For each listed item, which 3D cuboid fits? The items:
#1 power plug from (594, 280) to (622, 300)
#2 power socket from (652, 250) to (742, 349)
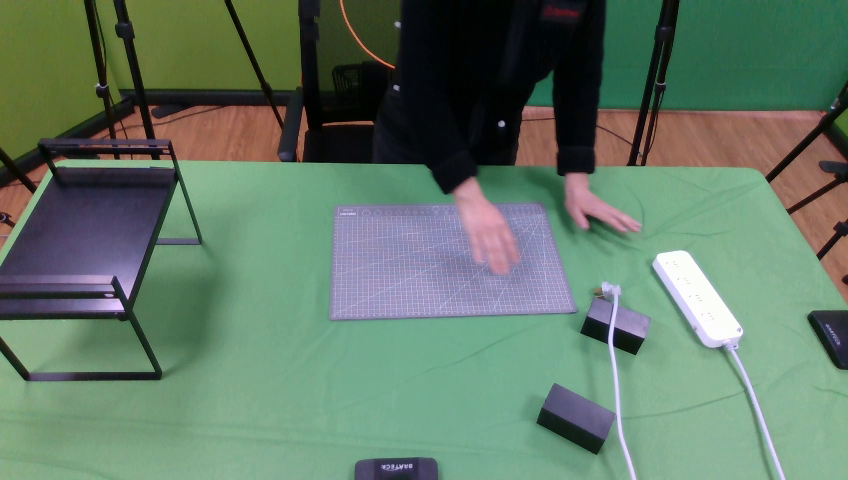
[{"bbox_3d":[0.331,0.092,1.106,0.052,0.073,0.035,-16,82,28],"label":"power plug"},{"bbox_3d":[0.502,0.104,1.126,0.072,0.033,0.225,-8,48,-10],"label":"power socket"}]
